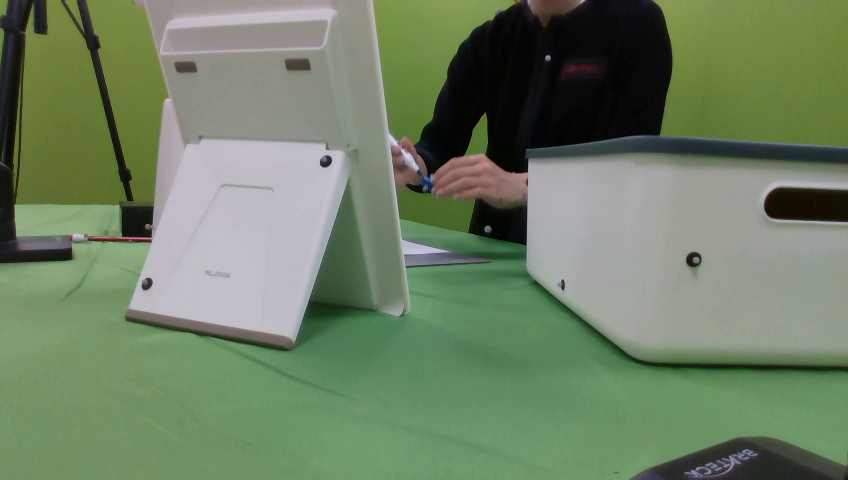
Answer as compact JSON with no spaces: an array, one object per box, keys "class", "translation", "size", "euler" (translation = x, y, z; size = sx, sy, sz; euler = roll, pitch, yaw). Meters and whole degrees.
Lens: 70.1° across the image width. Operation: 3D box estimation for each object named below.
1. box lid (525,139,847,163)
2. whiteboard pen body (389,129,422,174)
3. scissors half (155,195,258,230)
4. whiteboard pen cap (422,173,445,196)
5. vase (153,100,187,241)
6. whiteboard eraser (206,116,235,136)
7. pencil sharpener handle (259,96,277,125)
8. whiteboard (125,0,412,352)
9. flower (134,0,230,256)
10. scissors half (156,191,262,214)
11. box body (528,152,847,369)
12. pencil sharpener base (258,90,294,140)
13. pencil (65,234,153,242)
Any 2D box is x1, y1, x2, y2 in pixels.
[{"class":"box lid","translation":[0.261,-0.078,0.580],"size":[0.264,0.015,0.371],"euler":[2,7,-4]},{"class":"whiteboard pen body","translation":[-0.047,-0.144,0.858],"size":[0.140,0.017,0.017],"euler":[49,24,14]},{"class":"scissors half","translation":[-0.378,-0.051,1.058],"size":[0.176,0.040,0.012],"euler":[20,22,-31]},{"class":"whiteboard pen cap","translation":[0.012,-0.077,0.839],"size":[0.033,0.018,0.018],"euler":[39,15,8]},{"class":"vase","translation":[-0.278,-0.066,0.736],"size":[0.098,0.200,0.098],"euler":[2,9,0]},{"class":"whiteboard eraser","translation":[-0.449,-0.251,1.335],"size":[0.056,0.042,0.112],"euler":[1,7,-22]},{"class":"pencil sharpener handle","translation":[-0.373,-0.304,1.425],"size":[0.036,0.067,0.030],"euler":[13,-1,-37]},{"class":"whiteboard","translation":[-0.151,-0.049,0.472],"size":[0.216,0.305,0.144],"euler":[6,27,24]},{"class":"flower","translation":[-0.282,-0.146,0.713],"size":[0.038,0.362,0.044],"euler":[-23,23,-31]},{"class":"scissors half","translation":[-0.371,-0.068,1.051],"size":[0.176,0.040,0.013],"euler":[2,25,-24]},{"class":"box body","translation":[0.258,-0.005,0.591],"size":[0.254,0.160,0.363],"euler":[2,7,-4]},{"class":"pencil sharpener base","translation":[-0.341,-0.285,1.388],"size":[0.062,0.107,0.076],"euler":[-3,9,-36]},{"class":"pencil","translation":[-0.429,-0.001,0.911],"size":[0.195,0.012,0.012],"euler":[1,8,-19]}]
